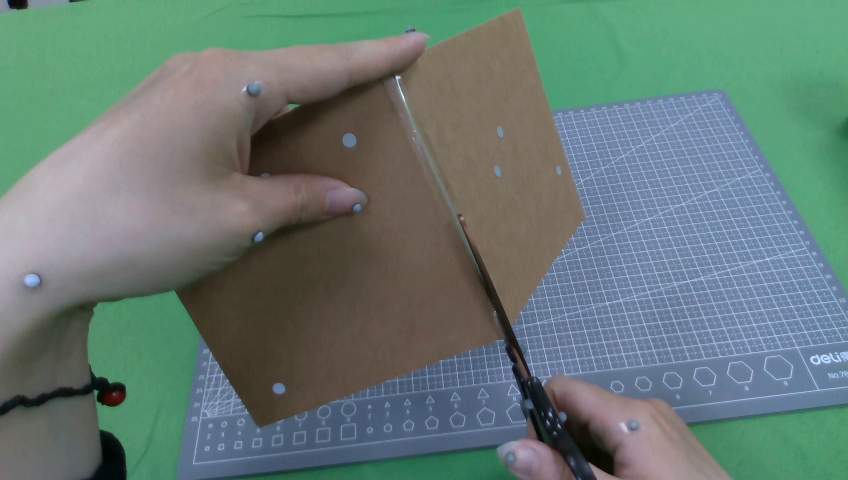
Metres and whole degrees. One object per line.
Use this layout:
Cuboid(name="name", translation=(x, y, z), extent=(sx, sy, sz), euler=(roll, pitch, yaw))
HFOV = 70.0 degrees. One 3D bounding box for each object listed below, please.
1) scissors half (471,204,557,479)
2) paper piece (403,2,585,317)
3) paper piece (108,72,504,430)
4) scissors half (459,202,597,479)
Cuboid(name="scissors half", translation=(0.048, 0.059, 0.304), extent=(0.013, 0.177, 0.039), euler=(-21, 28, -4))
Cuboid(name="paper piece", translation=(0.049, -0.047, 0.317), extent=(0.004, 0.136, 0.135), euler=(-8, 21, 36))
Cuboid(name="paper piece", translation=(-0.052, 0.013, 0.280), extent=(0.138, 0.136, 0.008), euler=(-22, 14, 8))
Cuboid(name="scissors half", translation=(0.051, 0.062, 0.281), extent=(0.013, 0.040, 0.174), euler=(-22, 85, -9))
